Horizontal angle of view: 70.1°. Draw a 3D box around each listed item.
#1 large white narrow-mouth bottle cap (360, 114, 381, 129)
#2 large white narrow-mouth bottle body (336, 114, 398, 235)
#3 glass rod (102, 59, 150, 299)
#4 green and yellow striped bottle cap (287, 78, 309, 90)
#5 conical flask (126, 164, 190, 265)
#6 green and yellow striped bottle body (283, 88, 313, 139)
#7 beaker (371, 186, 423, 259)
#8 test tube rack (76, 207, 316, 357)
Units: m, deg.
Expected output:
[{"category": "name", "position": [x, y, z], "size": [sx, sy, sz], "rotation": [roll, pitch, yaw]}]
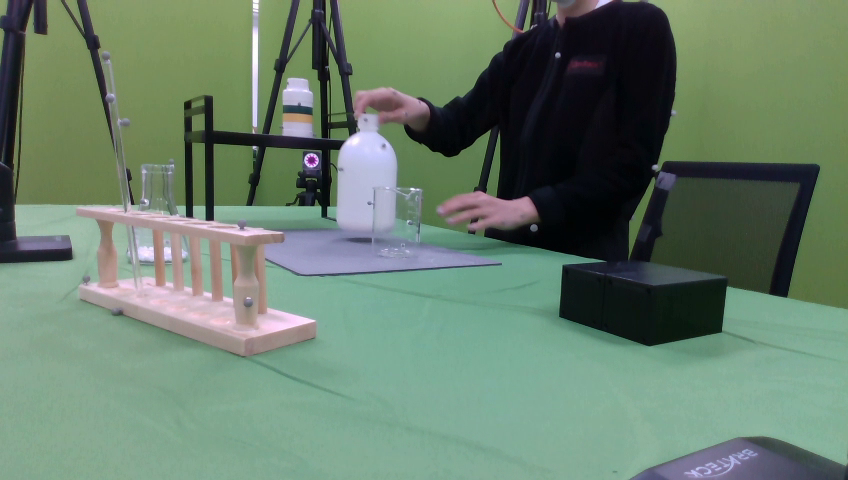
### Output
[{"category": "large white narrow-mouth bottle cap", "position": [-0.088, -0.196, 1.000], "size": [0.038, 0.024, 0.037], "rotation": [4, 11, 0]}, {"category": "large white narrow-mouth bottle body", "position": [-0.095, -0.112, 1.017], "size": [0.102, 0.194, 0.101], "rotation": [4, 11, 0]}, {"category": "glass rod", "position": [-0.243, -0.045, 0.496], "size": [0.008, 0.199, 0.008], "rotation": [-4, 13, 1]}, {"category": "green and yellow striped bottle cap", "position": [-0.265, -0.326, 1.268], "size": [0.045, 0.020, 0.045], "rotation": [4, 6, 0]}, {"category": "conical flask", "position": [-0.332, -0.033, 0.756], "size": [0.075, 0.122, 0.075], "rotation": [2, 7, 0]}, {"category": "green and yellow striped bottle body", "position": [-0.266, -0.275, 1.275], "size": [0.063, 0.119, 0.063], "rotation": [3, 7, 0]}, {"category": "beaker", "position": [-0.038, -0.025, 0.868], "size": [0.074, 0.100, 0.083], "rotation": [-1, 8, -22]}, {"category": "test tube rack", "position": [-0.196, 0.023, 0.500], "size": [0.241, 0.085, 0.067], "rotation": [8, 9, 36]}]
